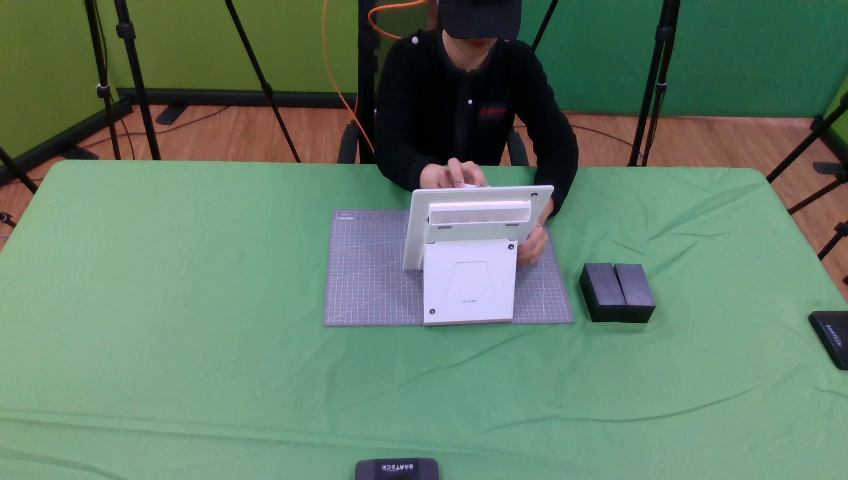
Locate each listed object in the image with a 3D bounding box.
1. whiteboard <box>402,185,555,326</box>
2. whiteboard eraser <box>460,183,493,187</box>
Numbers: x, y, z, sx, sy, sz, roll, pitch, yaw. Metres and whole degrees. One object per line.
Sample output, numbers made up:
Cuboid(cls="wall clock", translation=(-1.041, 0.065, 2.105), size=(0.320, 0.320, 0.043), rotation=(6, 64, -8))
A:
Cuboid(cls="whiteboard", translation=(0.081, 0.044, 1.005), size=(0.217, 0.306, 0.143), rotation=(-1, 66, -6))
Cuboid(cls="whiteboard eraser", translation=(0.079, -0.052, 0.998), size=(0.055, 0.113, 0.041), rotation=(3, 68, -3))
